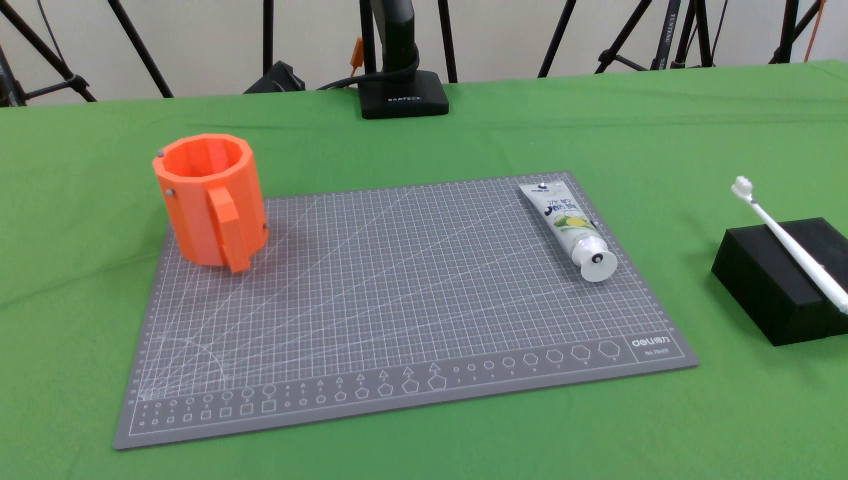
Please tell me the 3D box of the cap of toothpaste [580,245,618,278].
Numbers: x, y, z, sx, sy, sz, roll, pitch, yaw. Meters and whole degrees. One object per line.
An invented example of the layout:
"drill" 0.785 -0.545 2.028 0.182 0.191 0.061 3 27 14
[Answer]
"cap of toothpaste" 0.159 0.018 0.556 0.037 0.037 0.011 -7 36 -9

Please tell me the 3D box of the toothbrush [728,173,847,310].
"toothbrush" 0.319 -0.006 0.533 0.014 0.017 0.180 0 39 -9

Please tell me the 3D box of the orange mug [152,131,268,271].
"orange mug" -0.192 -0.032 0.566 0.083 0.101 0.125 -19 39 -22

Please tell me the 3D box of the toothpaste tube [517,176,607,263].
"toothpaste tube" 0.147 -0.025 0.619 0.055 0.035 0.163 -2 35 -13
